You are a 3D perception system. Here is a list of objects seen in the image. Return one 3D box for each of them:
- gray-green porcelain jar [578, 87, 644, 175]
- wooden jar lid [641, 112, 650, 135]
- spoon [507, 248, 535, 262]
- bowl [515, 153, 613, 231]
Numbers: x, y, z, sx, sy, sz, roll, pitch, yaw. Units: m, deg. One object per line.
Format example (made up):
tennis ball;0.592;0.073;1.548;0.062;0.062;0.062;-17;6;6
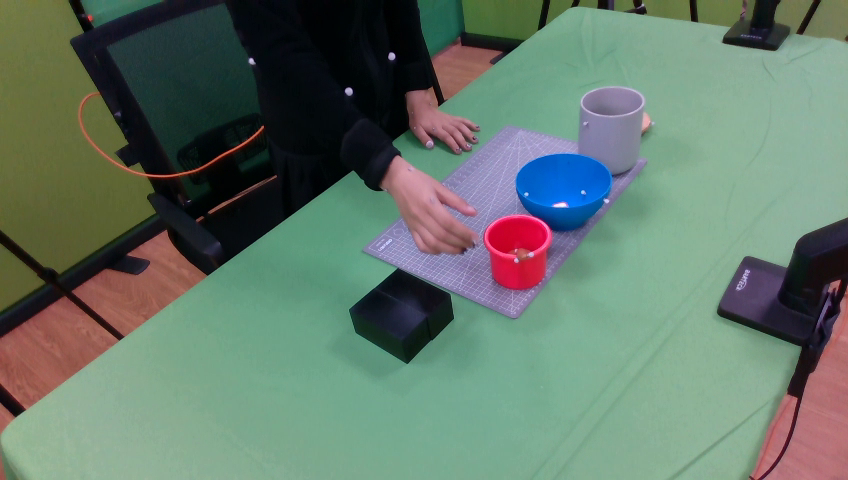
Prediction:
gray-green porcelain jar;0.324;-0.185;1.055;0.106;0.127;0.105;-5;40;5
wooden jar lid;0.382;-0.225;1.178;0.108;0.021;0.108;-5;40;4
spoon;0.135;0.019;0.835;0.041;0.021;0.194;-2;-3;8
bowl;0.224;-0.068;0.972;0.151;0.077;0.150;-5;40;5
